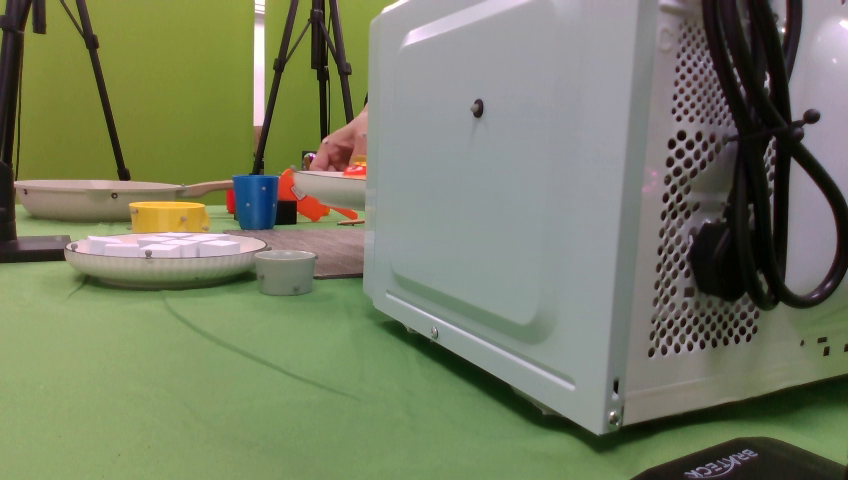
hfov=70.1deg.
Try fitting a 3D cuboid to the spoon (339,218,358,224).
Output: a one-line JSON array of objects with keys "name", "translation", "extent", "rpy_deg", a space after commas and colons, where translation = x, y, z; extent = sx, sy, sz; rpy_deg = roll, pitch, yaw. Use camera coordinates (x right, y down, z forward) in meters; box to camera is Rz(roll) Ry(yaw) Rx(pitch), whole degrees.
[{"name": "spoon", "translation": [-0.087, -0.041, 1.268], "extent": [0.193, 0.021, 0.041], "rpy_deg": [3, 18, 14]}]

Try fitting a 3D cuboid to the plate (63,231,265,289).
[{"name": "plate", "translation": [-0.288, 0.021, 0.687], "extent": [0.208, 0.039, 0.207], "rpy_deg": [2, 8, 0]}]

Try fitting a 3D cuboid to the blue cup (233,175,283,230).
[{"name": "blue cup", "translation": [-0.314, -0.071, 1.141], "extent": [0.093, 0.100, 0.092], "rpy_deg": [0, 7, 0]}]

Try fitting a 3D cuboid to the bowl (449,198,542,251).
[{"name": "bowl", "translation": [0.115, -0.025, 0.988], "extent": [0.151, 0.077, 0.151], "rpy_deg": [2, 8, 0]}]

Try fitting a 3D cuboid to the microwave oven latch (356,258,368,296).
[{"name": "microwave oven latch", "translation": [-0.019, 0.031, 0.528], "extent": [0.079, 0.029, 0.030], "rpy_deg": [-1, 7, -24]}]

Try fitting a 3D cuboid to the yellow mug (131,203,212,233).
[{"name": "yellow mug", "translation": [-0.356, -0.020, 0.878], "extent": [0.099, 0.064, 0.131], "rpy_deg": [5, 7, 22]}]

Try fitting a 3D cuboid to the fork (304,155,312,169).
[{"name": "fork", "translation": [-0.268, -0.134, 1.447], "extent": [0.028, 0.018, 0.207], "rpy_deg": [2, -36, -1]}]

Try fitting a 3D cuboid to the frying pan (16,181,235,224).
[{"name": "frying pan", "translation": [-0.554, -0.097, 1.266], "extent": [0.490, 0.102, 0.305], "rpy_deg": [-10, 13, -24]}]

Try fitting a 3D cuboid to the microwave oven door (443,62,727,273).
[{"name": "microwave oven door", "translation": [0.188, -0.097, 0.786], "extent": [0.354, 0.243, 0.039], "rpy_deg": [6, 9, 31]}]

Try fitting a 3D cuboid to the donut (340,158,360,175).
[{"name": "donut", "translation": [-0.052, -0.073, 0.733], "extent": [0.099, 0.048, 0.099], "rpy_deg": [5, 5, 0]}]

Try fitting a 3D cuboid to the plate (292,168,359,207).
[{"name": "plate", "translation": [-0.052, -0.061, 0.725], "extent": [0.209, 0.038, 0.209], "rpy_deg": [4, 7, 0]}]

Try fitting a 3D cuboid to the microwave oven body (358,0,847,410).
[{"name": "microwave oven body", "translation": [0.210, -0.051, 0.472], "extent": [0.444, 0.260, 0.324], "rpy_deg": [-1, 7, -28]}]

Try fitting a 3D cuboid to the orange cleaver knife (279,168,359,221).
[{"name": "orange cleaver knife", "translation": [-0.236, -0.084, 1.333], "extent": [0.212, 0.077, 0.012], "rpy_deg": [31, -9, -31]}]

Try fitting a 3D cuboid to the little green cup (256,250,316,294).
[{"name": "little green cup", "translation": [-0.144, 0.033, 0.627], "extent": [0.061, 0.038, 0.061], "rpy_deg": [5, 6, 0]}]
